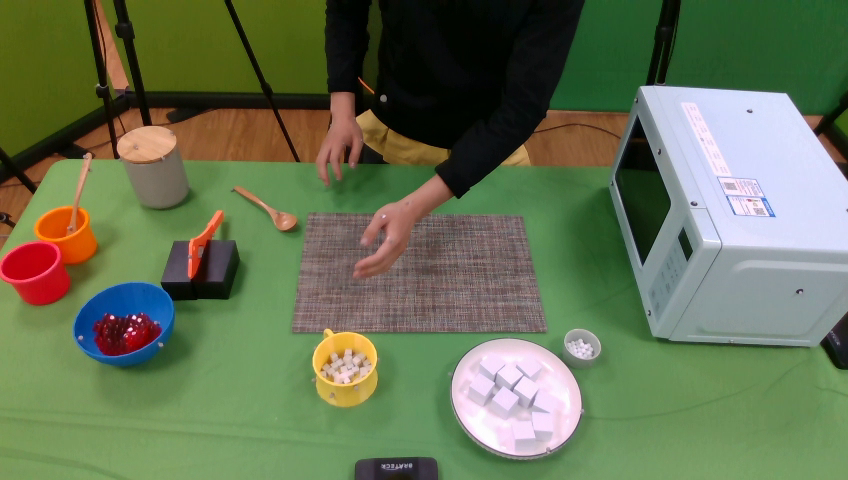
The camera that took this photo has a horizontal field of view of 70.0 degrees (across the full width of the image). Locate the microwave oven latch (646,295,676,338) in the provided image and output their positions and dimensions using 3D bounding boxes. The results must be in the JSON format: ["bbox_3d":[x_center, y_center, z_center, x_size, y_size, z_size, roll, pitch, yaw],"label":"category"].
[{"bbox_3d":[0.412,0.133,1.060,0.030,0.029,0.078,3,46,0],"label":"microwave oven latch"}]

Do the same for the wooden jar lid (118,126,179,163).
[{"bbox_3d":[-0.528,-0.181,1.167,0.108,0.021,0.107,3,47,-4],"label":"wooden jar lid"}]

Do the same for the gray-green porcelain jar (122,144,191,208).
[{"bbox_3d":[-0.531,-0.137,1.213,0.106,0.127,0.105,2,46,-2],"label":"gray-green porcelain jar"}]

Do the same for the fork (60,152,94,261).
[{"bbox_3d":[-0.638,-0.063,1.119,0.028,0.018,0.207,12,90,6],"label":"fork"}]

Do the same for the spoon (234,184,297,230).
[{"bbox_3d":[-0.327,-0.073,1.239,0.193,0.022,0.041,34,72,25],"label":"spoon"}]

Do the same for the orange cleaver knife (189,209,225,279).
[{"bbox_3d":[-0.401,0.002,1.122,0.012,0.077,0.210,4,23,-4],"label":"orange cleaver knife"}]

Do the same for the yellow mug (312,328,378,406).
[{"bbox_3d":[-0.132,0.193,0.971,0.100,0.064,0.130,-22,51,-22],"label":"yellow mug"}]

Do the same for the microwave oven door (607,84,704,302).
[{"bbox_3d":[0.424,-0.096,1.138,0.039,0.245,0.353,3,46,-1],"label":"microwave oven door"}]

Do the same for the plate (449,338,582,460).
[{"bbox_3d":[0.141,0.251,0.956,0.208,0.039,0.206,2,46,-2],"label":"plate"}]

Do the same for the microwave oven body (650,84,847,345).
[{"bbox_3d":[0.569,-0.054,1.116,0.326,0.261,0.439,2,46,-1],"label":"microwave oven body"}]

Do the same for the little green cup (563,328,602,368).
[{"bbox_3d":[0.265,0.184,1.025,0.061,0.039,0.061,1,46,-1],"label":"little green cup"}]

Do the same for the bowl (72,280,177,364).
[{"bbox_3d":[-0.472,0.147,0.982,0.151,0.077,0.150,2,46,-2],"label":"bowl"}]
